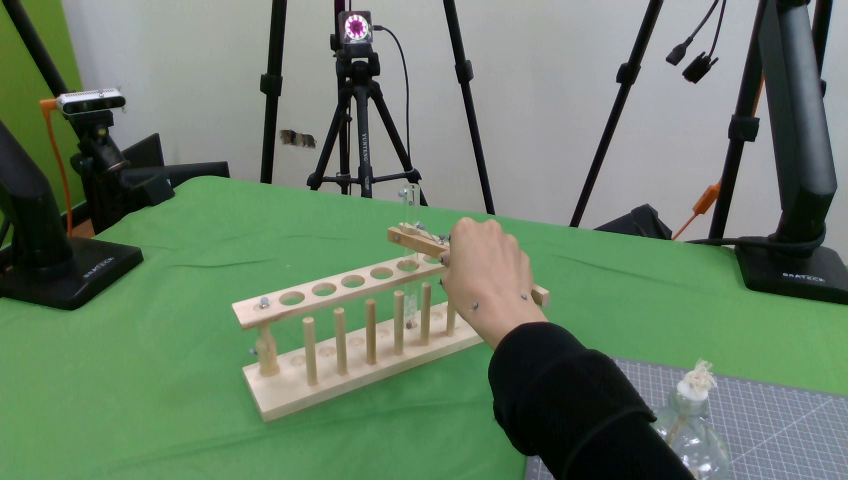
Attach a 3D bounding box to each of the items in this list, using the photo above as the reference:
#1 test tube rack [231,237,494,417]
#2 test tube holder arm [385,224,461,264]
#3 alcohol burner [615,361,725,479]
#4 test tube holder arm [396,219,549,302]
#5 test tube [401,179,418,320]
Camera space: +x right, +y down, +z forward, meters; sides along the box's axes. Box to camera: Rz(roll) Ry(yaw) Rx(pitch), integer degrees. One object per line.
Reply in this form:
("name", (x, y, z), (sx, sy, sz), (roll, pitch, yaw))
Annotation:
("test tube rack", (-0.048, 0.075, 0.577), (0.243, 0.086, 0.066), (-15, 33, -26))
("test tube holder arm", (0.000, 0.003, 0.561), (0.087, 0.015, 0.010), (18, 36, 33))
("alcohol burner", (0.182, 0.137, 0.441), (0.078, 0.120, 0.077), (2, 28, -1))
("test tube holder arm", (0.037, 0.014, 0.538), (0.176, 0.015, 0.013), (24, 40, 39))
("test tube", (-0.015, 0.013, 0.586), (0.017, 0.151, 0.017), (1, 27, 0))
